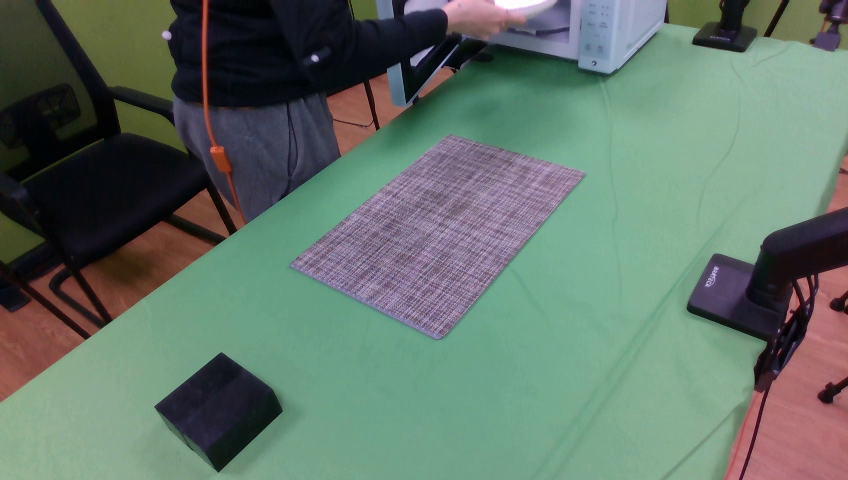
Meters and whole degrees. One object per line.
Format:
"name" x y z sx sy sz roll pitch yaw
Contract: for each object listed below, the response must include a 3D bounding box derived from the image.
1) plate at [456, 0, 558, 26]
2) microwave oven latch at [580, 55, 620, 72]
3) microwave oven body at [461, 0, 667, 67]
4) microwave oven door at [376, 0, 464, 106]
"plate" 0.170 -0.483 1.231 0.209 0.038 0.208 -4 40 4
"microwave oven latch" 0.386 -0.393 1.330 0.078 0.029 0.030 25 51 32
"microwave oven body" 0.324 -0.609 1.437 0.438 0.261 0.327 23 50 31
"microwave oven door" 0.003 -0.493 1.344 0.039 0.245 0.356 11 45 21
